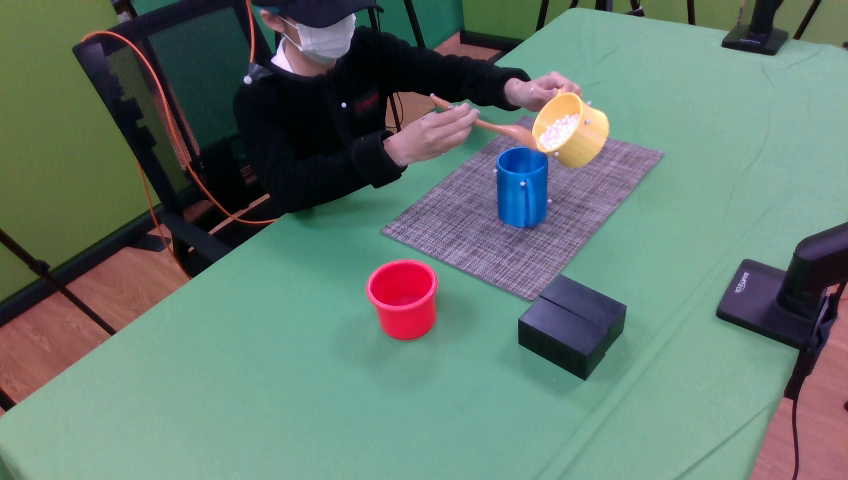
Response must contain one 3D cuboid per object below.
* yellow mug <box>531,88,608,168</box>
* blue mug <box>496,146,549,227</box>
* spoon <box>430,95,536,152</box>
[{"bbox_3d":[0.227,-0.185,0.951,0.099,0.064,0.130,-28,48,44],"label":"yellow mug"},{"bbox_3d":[0.162,-0.076,0.969,0.082,0.106,0.116,-9,40,-1],"label":"blue mug"},{"bbox_3d":[0.092,-0.172,0.896,0.195,0.021,0.041,15,48,-24],"label":"spoon"}]
